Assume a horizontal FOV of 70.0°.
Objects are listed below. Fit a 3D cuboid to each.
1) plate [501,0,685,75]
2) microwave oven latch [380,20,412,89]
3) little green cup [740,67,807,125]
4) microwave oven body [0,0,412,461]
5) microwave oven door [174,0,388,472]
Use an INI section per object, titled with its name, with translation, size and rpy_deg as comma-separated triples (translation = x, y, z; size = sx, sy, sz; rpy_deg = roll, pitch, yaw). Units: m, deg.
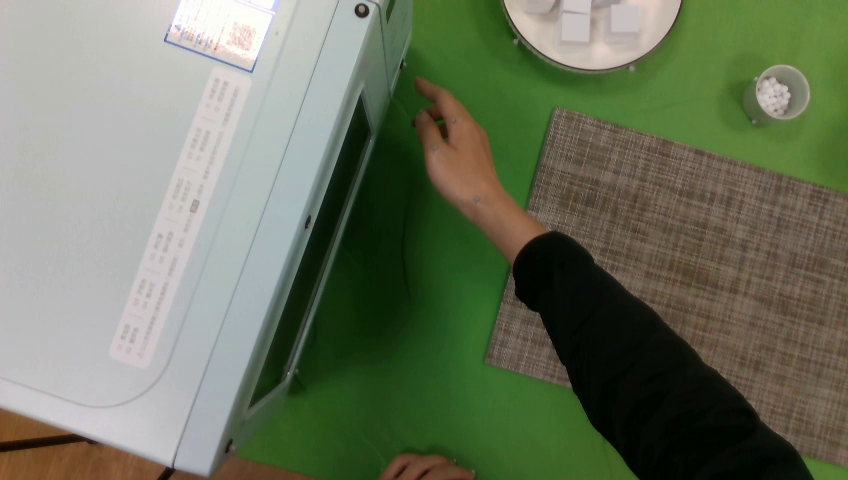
[plate]
translation = 0.187, -0.285, 0.683
size = 0.208, 0.039, 0.207
rpy_deg = 0, 88, -2
[microwave oven latch]
translation = -0.038, -0.203, 0.654
size = 0.030, 0.029, 0.079
rpy_deg = 23, 88, -1
[little green cup]
translation = 0.393, -0.161, 0.686
size = 0.061, 0.038, 0.061
rpy_deg = 0, 87, -2
[microwave oven body]
translation = -0.234, -0.090, 0.547
size = 0.326, 0.260, 0.441
rpy_deg = 20, 88, -2
[microwave oven door]
translation = -0.110, -0.002, 0.543
size = 0.039, 0.244, 0.355
rpy_deg = 19, 87, -1
